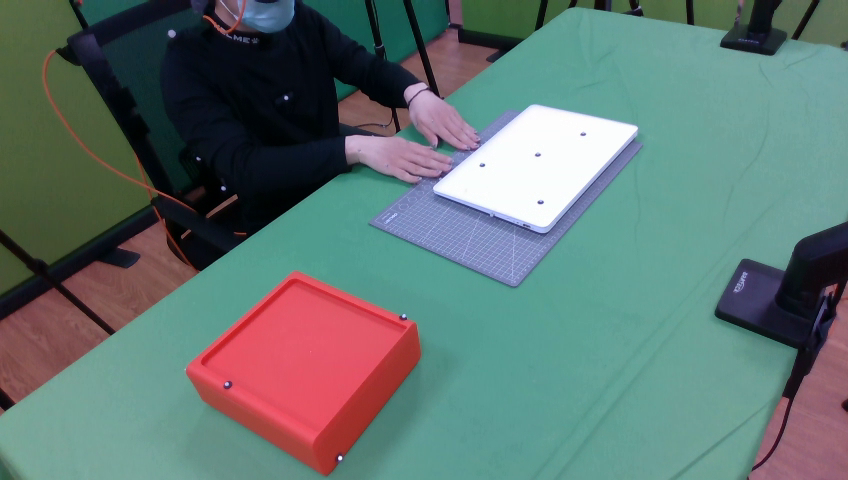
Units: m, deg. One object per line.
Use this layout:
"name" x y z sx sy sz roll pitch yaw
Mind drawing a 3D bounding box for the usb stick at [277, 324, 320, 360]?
"usb stick" -0.172 0.140 0.816 0.059 0.027 0.021 -28 41 -21

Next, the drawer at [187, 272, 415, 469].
"drawer" -0.150 0.154 0.768 0.210 0.073 0.195 20 46 27

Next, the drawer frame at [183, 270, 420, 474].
"drawer frame" -0.148 0.153 0.767 0.212 0.083 0.202 19 46 27

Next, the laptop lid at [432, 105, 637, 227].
"laptop lid" 0.207 -0.152 1.104 0.239 0.013 0.358 23 49 34

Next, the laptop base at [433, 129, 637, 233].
"laptop base" 0.210 -0.142 1.111 0.233 0.023 0.355 21 47 34
